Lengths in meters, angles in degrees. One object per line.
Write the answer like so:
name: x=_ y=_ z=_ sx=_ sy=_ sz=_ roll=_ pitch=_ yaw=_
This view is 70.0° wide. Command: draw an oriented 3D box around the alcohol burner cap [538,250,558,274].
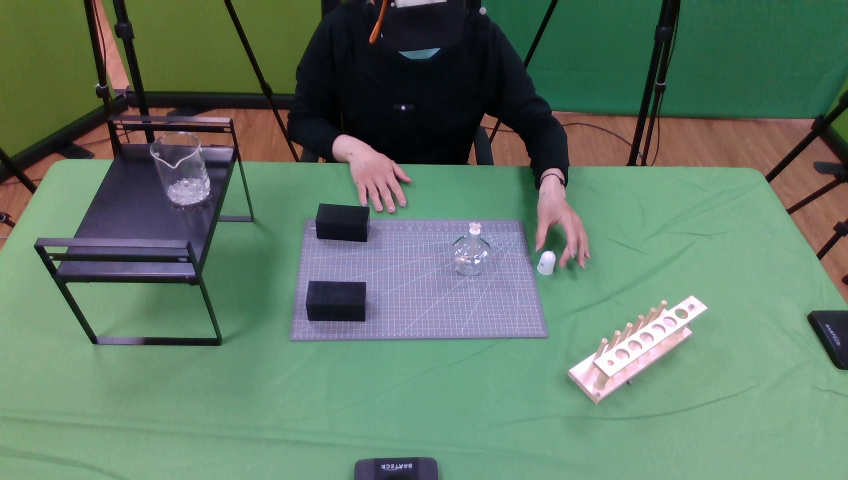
alcohol burner cap: x=0.238 y=0.039 z=1.159 sx=0.034 sy=0.048 sz=0.033 roll=3 pitch=46 yaw=-2

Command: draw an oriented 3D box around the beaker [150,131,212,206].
beaker: x=-0.385 y=-0.110 z=0.969 sx=0.074 sy=0.101 sz=0.083 roll=-6 pitch=48 yaw=-9

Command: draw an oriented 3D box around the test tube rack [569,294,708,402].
test tube rack: x=0.360 y=0.167 z=1.014 sx=0.242 sy=0.085 sz=0.066 roll=-25 pitch=52 yaw=-25

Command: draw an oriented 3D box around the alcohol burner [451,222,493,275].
alcohol burner: x=0.091 y=0.008 z=1.124 sx=0.078 sy=0.120 sz=0.077 roll=2 pitch=48 yaw=-2
